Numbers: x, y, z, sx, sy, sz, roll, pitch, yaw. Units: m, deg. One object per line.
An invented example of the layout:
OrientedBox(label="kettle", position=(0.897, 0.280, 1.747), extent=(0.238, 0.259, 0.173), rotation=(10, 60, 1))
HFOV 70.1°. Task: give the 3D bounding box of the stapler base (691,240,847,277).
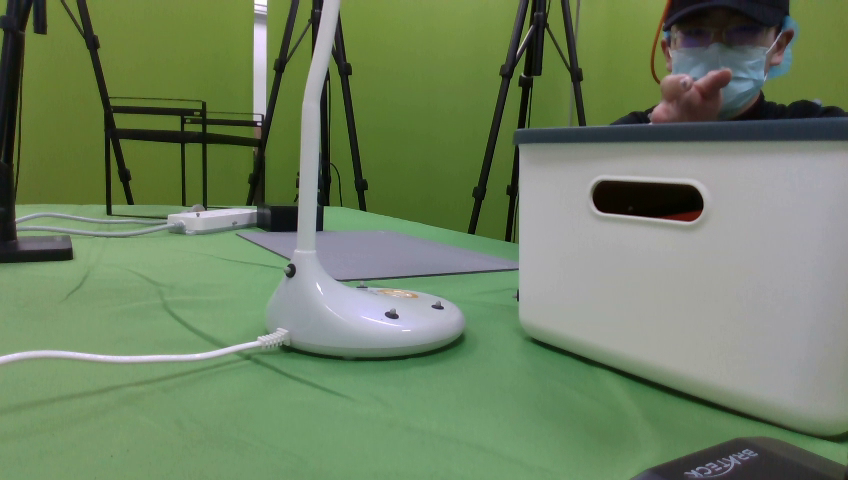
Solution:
OrientedBox(label="stapler base", position=(0.271, 0.014, 0.486), extent=(0.041, 0.024, 0.130), rotation=(-14, 3, -19))

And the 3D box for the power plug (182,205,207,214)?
OrientedBox(label="power plug", position=(-0.456, -0.041, 1.195), extent=(0.052, 0.035, 0.072), rotation=(0, 39, 24))

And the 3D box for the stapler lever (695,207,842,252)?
OrientedBox(label="stapler lever", position=(0.267, -0.010, 0.484), extent=(0.027, 0.040, 0.117), rotation=(-14, 2, -19))

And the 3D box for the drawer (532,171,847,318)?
OrientedBox(label="drawer", position=(0.226, 0.004, 0.467), extent=(0.213, 0.073, 0.193), rotation=(-13, 2, -35))

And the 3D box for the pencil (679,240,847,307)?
OrientedBox(label="pencil", position=(0.249, 0.019, 0.463), extent=(0.012, 0.012, 0.193), rotation=(1, 11, -8))

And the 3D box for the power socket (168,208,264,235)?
OrientedBox(label="power socket", position=(-0.381, -0.038, 1.129), extent=(0.072, 0.032, 0.227), rotation=(4, 8, 17))

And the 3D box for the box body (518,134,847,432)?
OrientedBox(label="box body", position=(0.278, 0.005, 0.486), extent=(0.366, 0.160, 0.253), rotation=(-3, 9, -36))

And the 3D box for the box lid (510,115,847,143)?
OrientedBox(label="box lid", position=(0.280, -0.075, 0.478), extent=(0.373, 0.015, 0.262), rotation=(-4, 9, -37))

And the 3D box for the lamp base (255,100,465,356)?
OrientedBox(label="lamp base", position=(-0.051, -0.014, 0.466), extent=(0.160, 0.180, 0.180), rotation=(7, 11, 33))

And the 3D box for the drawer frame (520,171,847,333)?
OrientedBox(label="drawer frame", position=(0.223, 0.004, 0.466), extent=(0.215, 0.082, 0.200), rotation=(-11, 2, -36))
